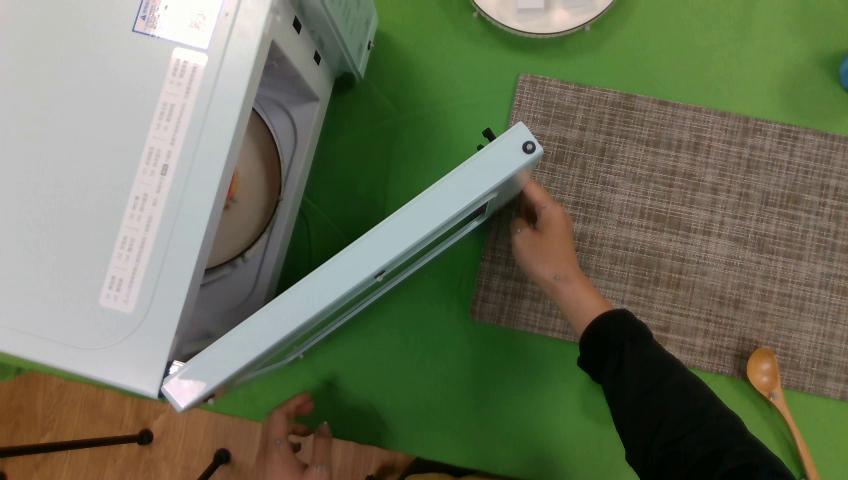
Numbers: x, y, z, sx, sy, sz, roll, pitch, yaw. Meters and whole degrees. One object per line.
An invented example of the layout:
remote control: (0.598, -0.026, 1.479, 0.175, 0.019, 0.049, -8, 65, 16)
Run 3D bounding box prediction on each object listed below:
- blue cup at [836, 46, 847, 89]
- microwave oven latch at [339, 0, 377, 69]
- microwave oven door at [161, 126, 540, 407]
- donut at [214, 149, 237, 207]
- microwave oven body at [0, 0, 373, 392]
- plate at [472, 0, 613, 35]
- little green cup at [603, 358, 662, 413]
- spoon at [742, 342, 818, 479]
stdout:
blue cup: (0.510, -0.203, 0.662, 0.092, 0.100, 0.092, 0, 89, 3)
microwave oven latch: (-0.079, -0.243, 0.706, 0.030, 0.029, 0.079, 19, 89, 3)
microwave oven door: (-0.052, 0.027, 0.590, 0.356, 0.244, 0.039, -36, 84, 1)
donut: (-0.250, -0.078, 0.653, 0.099, 0.048, 0.099, 1, 93, 13)
microwave oven body: (-0.273, -0.117, 0.613, 0.326, 0.260, 0.441, 15, 88, 3)
plate: (0.140, -0.342, 0.719, 0.207, 0.039, 0.207, 0, 87, 3)
little green cup: (0.233, 0.163, 0.688, 0.061, 0.039, 0.061, 0, 85, 3)
spoon: (0.407, 0.205, 0.682, 0.041, 0.021, 0.193, -24, 87, -15)
